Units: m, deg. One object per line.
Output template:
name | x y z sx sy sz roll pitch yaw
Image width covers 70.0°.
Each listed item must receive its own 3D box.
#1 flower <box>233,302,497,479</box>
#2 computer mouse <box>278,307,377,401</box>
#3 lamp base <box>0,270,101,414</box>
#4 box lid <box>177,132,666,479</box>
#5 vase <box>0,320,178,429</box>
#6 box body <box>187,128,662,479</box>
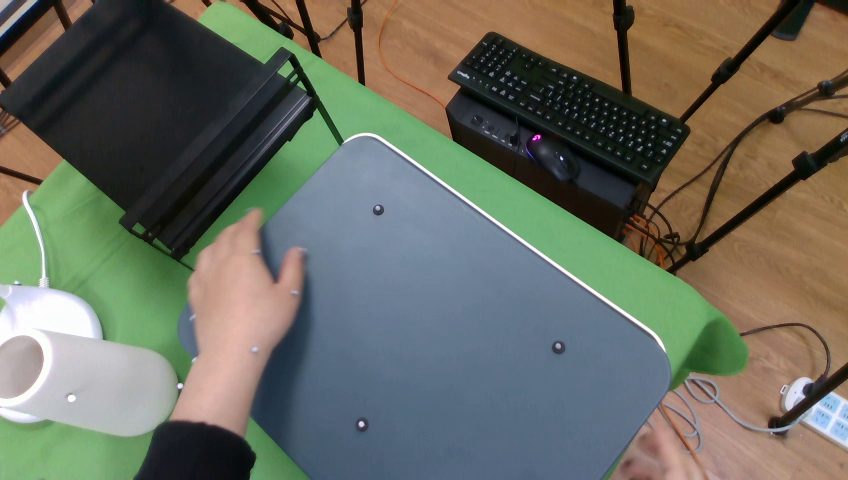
flower | -0.043 0.171 0.621 0.360 0.038 0.044 31 34 10
computer mouse | -0.110 0.122 0.664 0.116 0.041 0.062 31 81 27
lamp base | -0.485 0.091 0.669 0.160 0.182 0.177 -19 65 2
box lid | -0.018 0.084 0.518 0.369 0.015 0.263 38 80 20
vase | -0.342 0.138 0.618 0.098 0.201 0.097 -4 69 10
box body | -0.001 0.102 0.593 0.361 0.161 0.254 38 80 20
